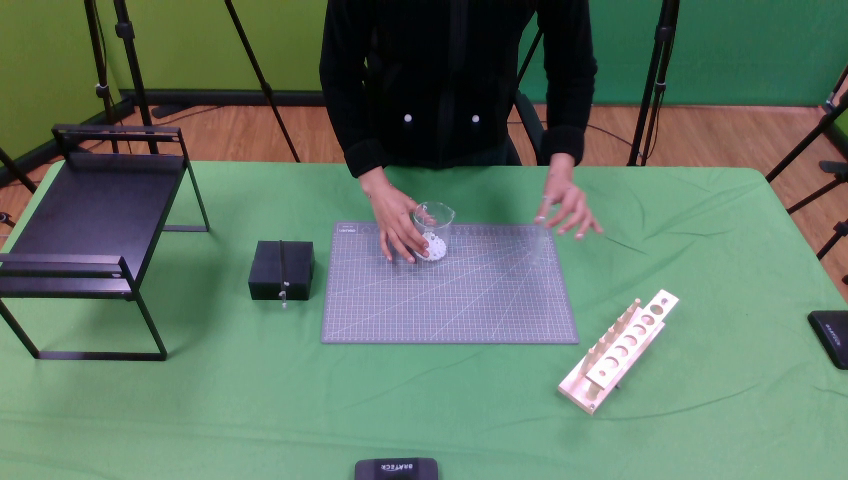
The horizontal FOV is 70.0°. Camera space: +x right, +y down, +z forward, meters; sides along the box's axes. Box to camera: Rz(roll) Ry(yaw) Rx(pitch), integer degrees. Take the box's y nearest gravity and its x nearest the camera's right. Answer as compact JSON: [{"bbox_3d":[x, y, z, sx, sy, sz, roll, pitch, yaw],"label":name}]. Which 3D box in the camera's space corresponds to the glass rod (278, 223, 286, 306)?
[{"bbox_3d":[-0.254,0.039,1.081,0.008,0.008,0.198,-6,47,-10],"label":"glass rod"}]

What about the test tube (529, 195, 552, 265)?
[{"bbox_3d":[0.203,-0.014,1.058,0.017,0.151,0.017,2,39,-2],"label":"test tube"}]

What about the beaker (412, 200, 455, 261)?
[{"bbox_3d":[0.017,-0.015,1.152,0.084,0.101,0.073,-11,49,-14],"label":"beaker"}]

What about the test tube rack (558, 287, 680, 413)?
[{"bbox_3d":[0.327,0.170,1.009,0.066,0.085,0.242,36,54,26],"label":"test tube rack"}]
